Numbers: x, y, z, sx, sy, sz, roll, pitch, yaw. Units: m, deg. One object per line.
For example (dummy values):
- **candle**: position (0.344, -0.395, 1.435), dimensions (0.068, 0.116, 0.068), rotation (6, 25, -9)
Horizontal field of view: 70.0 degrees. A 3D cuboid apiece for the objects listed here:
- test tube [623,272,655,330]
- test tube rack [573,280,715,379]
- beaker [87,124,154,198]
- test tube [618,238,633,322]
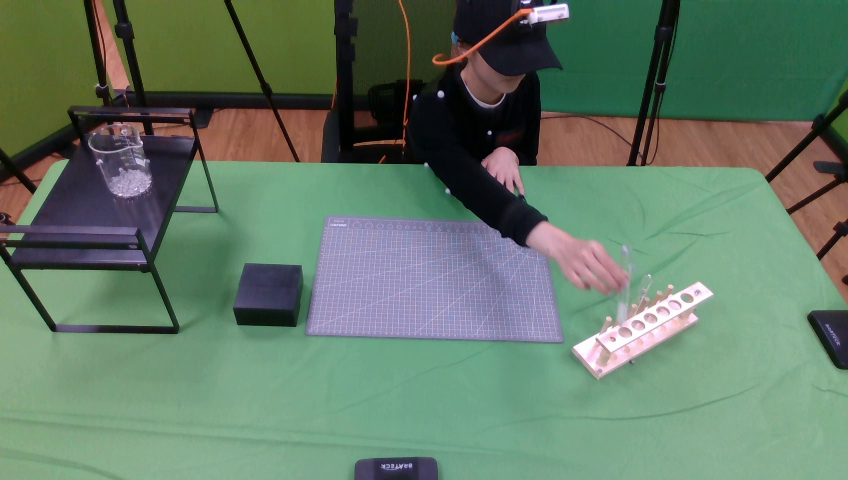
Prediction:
- **test tube**: position (0.356, 0.104, 1.010), dimensions (0.017, 0.151, 0.017), rotation (1, 46, -1)
- **test tube rack**: position (0.378, 0.140, 1.038), dimensions (0.242, 0.085, 0.066), rotation (-22, 51, -23)
- **beaker**: position (-0.482, -0.124, 0.978), dimensions (0.084, 0.101, 0.073), rotation (9, 46, 4)
- **test tube**: position (0.307, 0.064, 0.924), dimensions (0.017, 0.151, 0.017), rotation (-6, 31, 4)
